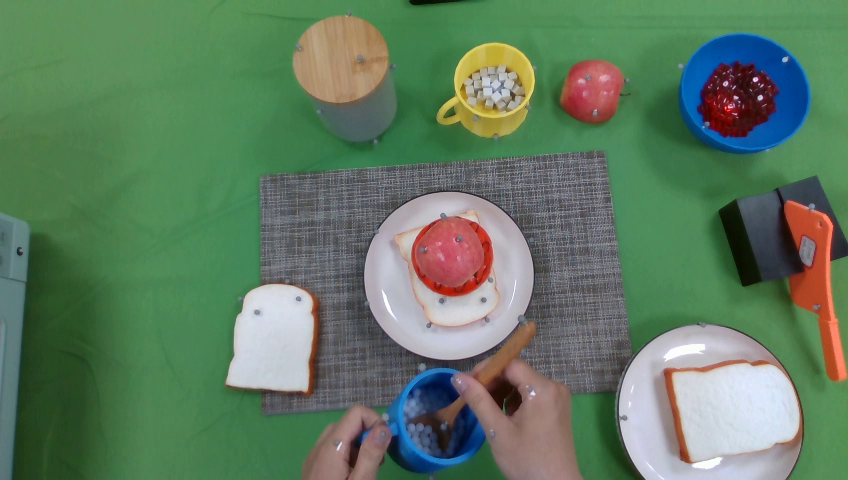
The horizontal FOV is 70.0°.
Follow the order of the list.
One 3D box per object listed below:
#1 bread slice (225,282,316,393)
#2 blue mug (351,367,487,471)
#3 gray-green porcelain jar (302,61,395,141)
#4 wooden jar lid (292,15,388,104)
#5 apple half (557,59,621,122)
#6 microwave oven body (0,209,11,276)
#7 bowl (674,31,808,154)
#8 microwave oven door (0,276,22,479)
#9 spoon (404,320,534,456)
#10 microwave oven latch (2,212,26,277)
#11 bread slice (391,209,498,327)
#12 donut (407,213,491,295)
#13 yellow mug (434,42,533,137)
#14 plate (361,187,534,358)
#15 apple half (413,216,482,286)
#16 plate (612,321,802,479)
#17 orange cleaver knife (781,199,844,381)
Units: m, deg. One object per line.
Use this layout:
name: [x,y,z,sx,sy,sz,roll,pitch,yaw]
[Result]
bread slice: [-0.185,0.117,0.742,0.105,0.019,0.131,3,80,2]
blue mug: [-0.010,0.173,0.566,0.117,0.106,0.081,-8,69,-16]
gray-green porcelain jar: [-0.091,-0.188,0.749,0.106,0.127,0.105,0,78,3]
wooden jar lid: [-0.095,-0.202,0.688,0.108,0.021,0.108,-1,76,3]
apple half: [0.214,-0.198,0.775,0.074,0.053,0.080,18,80,9]
microwave oven body: [-0.660,0.168,0.626,0.326,0.261,0.439,-4,79,1]
bowl: [0.377,-0.169,0.749,0.151,0.077,0.150,-1,79,3]
microwave oven door: [-0.513,0.198,0.608,0.039,0.245,0.354,-4,78,2]
spoon: [0.036,0.135,0.528,0.041,0.021,0.194,43,123,10]
microwave oven latch: [-0.518,0.006,0.752,0.030,0.029,0.079,0,79,2]
bread slice: [0.033,0.037,0.739,0.107,0.018,0.133,-21,78,-1]
donut: [0.030,0.017,0.713,0.099,0.048,0.098,-1,79,3]
yellow mug: [0.071,-0.184,0.772,0.131,0.064,0.099,-28,78,-3]
plate: [0.028,0.039,0.738,0.207,0.039,0.206,0,78,3]
apple half: [0.026,0.011,0.679,0.081,0.033,0.081,-2,80,9]
plate: [0.318,0.198,0.696,0.209,0.038,0.208,0,78,3]
orange cleaver knife: [0.445,0.056,0.697,0.012,0.077,0.212,-15,99,-7]
